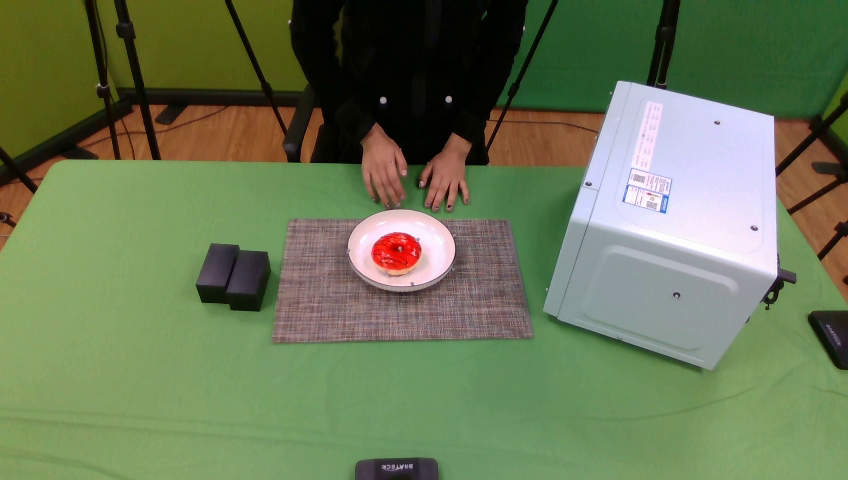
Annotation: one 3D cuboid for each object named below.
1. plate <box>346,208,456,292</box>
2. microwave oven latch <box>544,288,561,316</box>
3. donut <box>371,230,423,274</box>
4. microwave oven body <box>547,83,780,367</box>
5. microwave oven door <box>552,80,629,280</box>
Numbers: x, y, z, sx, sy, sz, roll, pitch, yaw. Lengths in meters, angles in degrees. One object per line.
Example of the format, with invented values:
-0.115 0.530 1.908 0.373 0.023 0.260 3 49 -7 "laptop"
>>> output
-0.044 0.021 1.159 0.209 0.038 0.208 2 47 -2 "plate"
0.237 0.098 1.087 0.030 0.029 0.079 18 47 14 "microwave oven latch"
-0.051 0.022 1.142 0.099 0.048 0.098 0 45 0 "donut"
0.444 -0.041 1.101 0.325 0.261 0.440 17 47 13 "microwave oven body"
0.324 -0.116 1.156 0.039 0.245 0.354 18 48 13 "microwave oven door"
